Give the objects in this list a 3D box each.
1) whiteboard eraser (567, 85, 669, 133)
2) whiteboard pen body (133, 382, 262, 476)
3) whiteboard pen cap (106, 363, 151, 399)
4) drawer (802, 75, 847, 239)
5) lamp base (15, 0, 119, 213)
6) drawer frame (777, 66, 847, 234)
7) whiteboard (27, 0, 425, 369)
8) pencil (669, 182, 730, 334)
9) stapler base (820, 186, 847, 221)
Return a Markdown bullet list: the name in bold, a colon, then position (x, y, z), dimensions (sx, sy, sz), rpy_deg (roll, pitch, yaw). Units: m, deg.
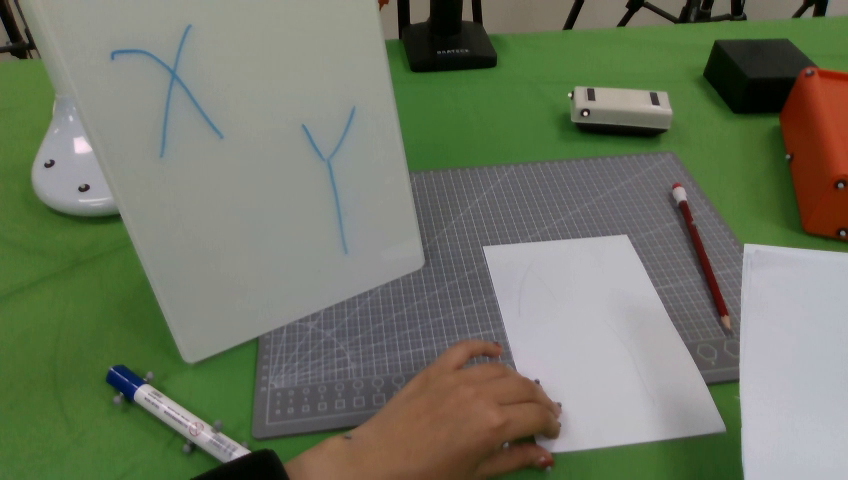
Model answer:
- **whiteboard eraser**: position (0.229, -0.155, 0.719), dimensions (0.112, 0.042, 0.055), rpy_deg (6, 46, 4)
- **whiteboard pen body**: position (-0.172, 0.128, 0.434), dimensions (0.140, 0.017, 0.017), rpy_deg (23, 48, 22)
- **whiteboard pen cap**: position (-0.222, 0.106, 0.456), dimensions (0.033, 0.018, 0.018), rpy_deg (22, 48, 24)
- **drawer**: position (0.491, -0.080, 0.621), dimensions (0.194, 0.074, 0.210), rpy_deg (12, 45, 12)
- **lamp base**: position (-0.337, -0.143, 0.593), dimensions (0.178, 0.182, 0.160), rpy_deg (24, 48, 25)
- **drawer frame**: position (0.491, -0.084, 0.623), dimensions (0.201, 0.083, 0.212), rpy_deg (11, 44, 11)
- **whiteboard**: position (-0.147, -0.093, 0.498), dimensions (0.217, 0.308, 0.142), rpy_deg (-22, 29, -21)
- **pencil**: position (0.258, 0.010, 0.569), dimensions (0.012, 0.012, 0.192), rpy_deg (2, 46, 1)
- **stapler base**: position (0.466, -0.034, 0.597), dimensions (0.130, 0.024, 0.041), rpy_deg (11, 59, 9)
